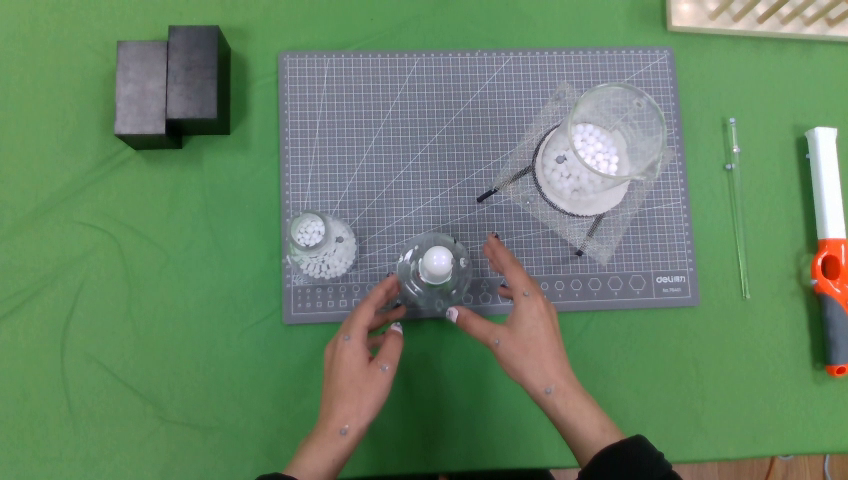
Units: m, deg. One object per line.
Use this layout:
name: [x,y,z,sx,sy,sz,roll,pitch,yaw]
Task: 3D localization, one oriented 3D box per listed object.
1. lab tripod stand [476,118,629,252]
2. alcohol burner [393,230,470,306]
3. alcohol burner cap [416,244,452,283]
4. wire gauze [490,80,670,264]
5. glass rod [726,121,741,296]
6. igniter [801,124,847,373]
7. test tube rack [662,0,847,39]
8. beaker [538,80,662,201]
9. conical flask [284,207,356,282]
lab tripod stand: [0.133,-0.056,0.604,0.148,0.131,0.148,0,84,-2]
alcohol burner: [0.008,0.026,0.595,0.078,0.119,0.077,0,82,-1]
alcohol burner cap: [0.010,0.019,0.560,0.034,0.048,0.033,1,75,-5]
wire gauze: [0.139,-0.063,0.539,0.125,0.011,0.121,35,84,0]
glass rod: [0.349,-0.037,0.682,0.008,0.008,0.199,0,85,-4]
igniter: [0.450,0.007,0.674,0.057,0.025,0.275,2,82,-14]
test tube rack: [0.404,-0.282,0.680,0.242,0.085,0.066,2,82,-3]
beaker: [0.138,-0.073,0.492,0.074,0.100,0.084,-41,86,-7]
conical flask: [-0.106,-0.001,0.586,0.075,0.122,0.075,1,82,-4]
